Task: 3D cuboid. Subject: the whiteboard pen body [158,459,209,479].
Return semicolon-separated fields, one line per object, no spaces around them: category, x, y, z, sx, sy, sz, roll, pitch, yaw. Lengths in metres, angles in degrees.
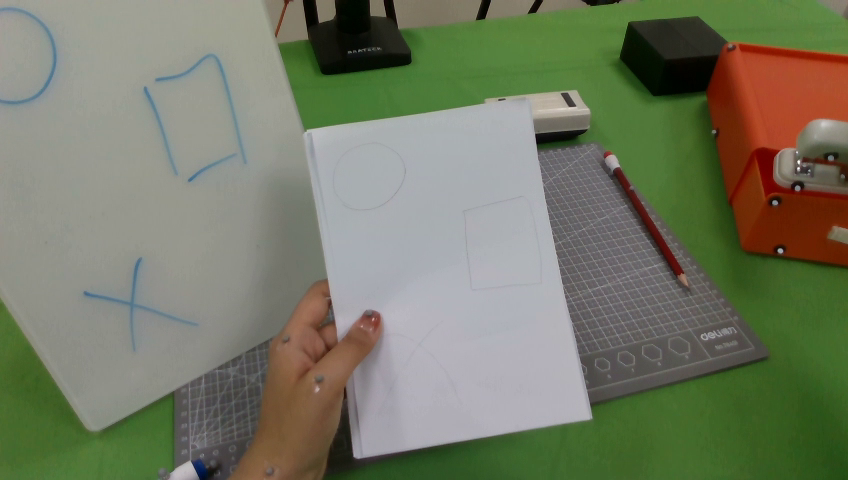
whiteboard pen body;-0.201;0.176;0.368;0.141;0.017;0.017;-25;50;-26

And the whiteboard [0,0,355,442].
whiteboard;-0.210;-0.056;0.444;0.217;0.308;0.142;-27;32;-25

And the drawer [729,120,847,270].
drawer;0.405;-0.064;0.593;0.194;0.074;0.210;8;44;8

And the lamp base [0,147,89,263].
lamp base;-0.413;-0.091;0.519;0.178;0.182;0.160;18;47;19

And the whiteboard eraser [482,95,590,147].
whiteboard eraser;0.125;-0.133;0.680;0.113;0.042;0.055;-6;46;-8

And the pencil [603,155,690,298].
pencil;0.213;-0.020;0.587;0.012;0.012;0.192;-6;48;-8

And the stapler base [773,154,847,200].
stapler base;0.371;-0.056;0.513;0.130;0.024;0.041;9;68;17

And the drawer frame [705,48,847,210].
drawer frame;0.418;-0.109;0.635;0.201;0.083;0.212;8;44;7

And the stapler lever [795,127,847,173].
stapler lever;0.367;-0.068;0.491;0.117;0.040;0.026;9;67;17
